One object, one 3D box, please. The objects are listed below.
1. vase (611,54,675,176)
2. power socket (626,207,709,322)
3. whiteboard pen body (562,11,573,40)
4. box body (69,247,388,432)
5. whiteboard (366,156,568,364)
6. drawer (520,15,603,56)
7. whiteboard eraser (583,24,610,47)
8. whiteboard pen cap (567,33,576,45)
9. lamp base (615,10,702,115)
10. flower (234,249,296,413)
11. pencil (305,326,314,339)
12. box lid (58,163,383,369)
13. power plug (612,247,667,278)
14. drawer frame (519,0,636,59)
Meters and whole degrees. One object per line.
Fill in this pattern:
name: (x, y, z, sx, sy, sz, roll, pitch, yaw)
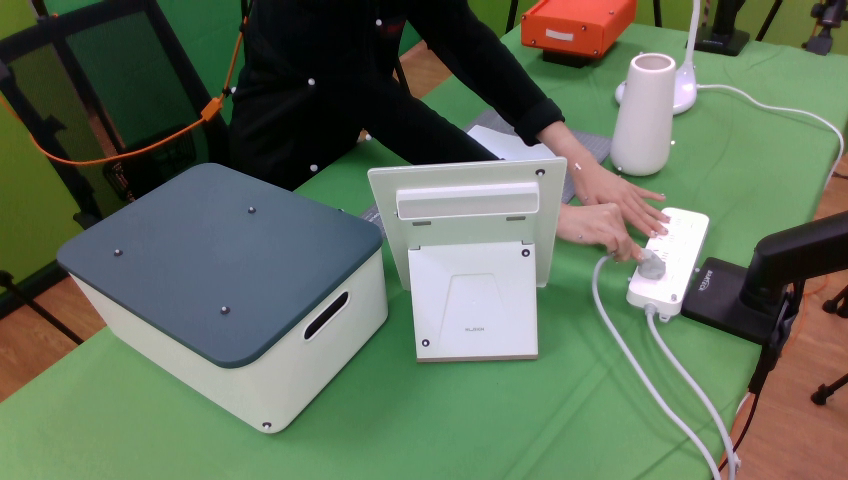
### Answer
vase: (0.377, -0.209, 1.031, 0.098, 0.201, 0.097, -3, 40, 3)
power socket: (0.360, 0.025, 0.886, 0.072, 0.033, 0.227, 17, 46, 26)
whiteboard pen body: (0.340, -0.506, 1.431, 0.017, 0.017, 0.140, -1, 44, 7)
box body: (-0.256, 0.065, 0.827, 0.361, 0.161, 0.255, 20, 48, 29)
whiteboard: (0.059, 0.050, 0.738, 0.217, 0.307, 0.143, -2, 60, 6)
drawer: (0.359, -0.517, 1.416, 0.193, 0.073, 0.212, 20, 47, 29)
whiteboard eraser: (0.407, -0.479, 1.423, 0.055, 0.042, 0.113, -3, 9, 21)
whiteboard pen cap: (0.339, -0.463, 1.390, 0.018, 0.018, 0.033, -2, 44, 5)
lamp base: (0.484, -0.364, 1.211, 0.180, 0.181, 0.159, -15, 41, -14)
flower: (-0.244, 0.109, 0.870, 0.044, 0.038, 0.358, 10, 26, -32)
pencil: (-0.187, 0.106, 0.880, 0.012, 0.012, 0.192, -27, 41, -22)
box lid: (-0.262, 0.010, 0.777, 0.369, 0.015, 0.264, 21, 47, 29)
power plug: (0.306, 0.032, 0.853, 0.072, 0.053, 0.035, 23, 50, 37)
drawer frame: (0.362, -0.518, 1.423, 0.200, 0.083, 0.214, 19, 48, 29)
